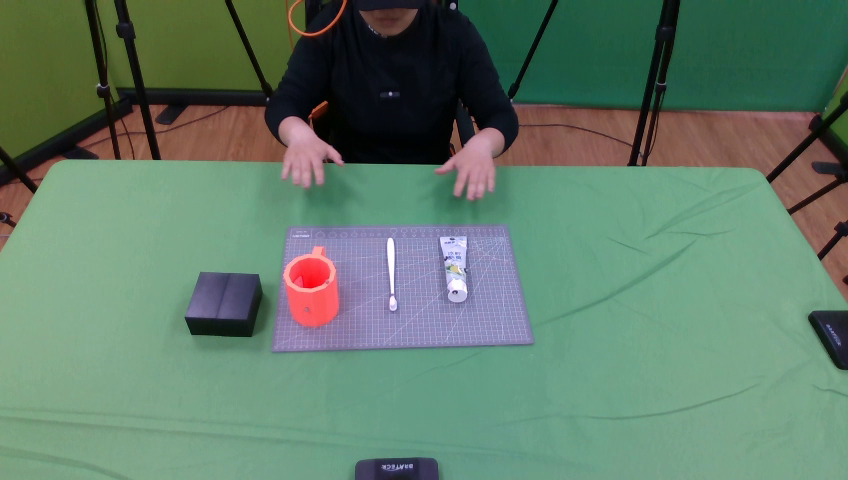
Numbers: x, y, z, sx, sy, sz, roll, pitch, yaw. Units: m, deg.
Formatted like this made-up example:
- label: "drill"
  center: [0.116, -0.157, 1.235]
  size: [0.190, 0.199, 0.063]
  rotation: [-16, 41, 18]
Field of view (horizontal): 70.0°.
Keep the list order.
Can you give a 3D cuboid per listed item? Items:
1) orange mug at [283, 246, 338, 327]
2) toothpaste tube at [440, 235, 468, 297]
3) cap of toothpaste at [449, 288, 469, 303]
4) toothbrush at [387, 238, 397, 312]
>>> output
- label: "orange mug"
  center: [-0.193, 0.073, 1.056]
  size: [0.083, 0.101, 0.125]
  rotation: [5, 50, 1]
- label: "toothpaste tube"
  center: [0.062, 0.046, 1.150]
  size: [0.055, 0.035, 0.164]
  rotation: [3, 43, -6]
- label: "cap of toothpaste"
  center: [0.062, 0.099, 1.093]
  size: [0.037, 0.037, 0.011]
  rotation: [1, 43, -2]
- label: "toothbrush"
  center: [-0.061, 0.059, 1.136]
  size: [0.014, 0.017, 0.180]
  rotation: [-11, 45, 5]
